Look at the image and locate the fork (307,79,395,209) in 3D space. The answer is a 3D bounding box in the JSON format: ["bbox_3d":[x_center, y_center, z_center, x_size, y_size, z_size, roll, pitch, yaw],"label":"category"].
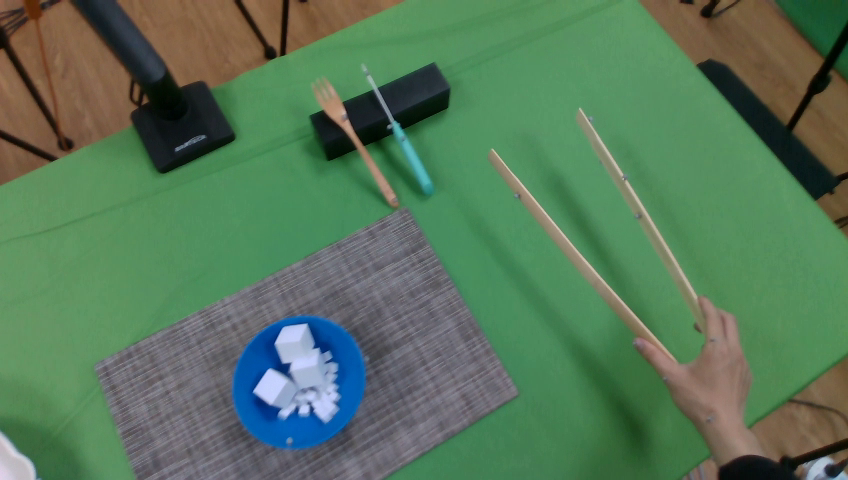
[{"bbox_3d":[-0.099,-0.132,0.846,0.028,0.018,0.207,-35,94,-19],"label":"fork"}]

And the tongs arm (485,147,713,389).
[{"bbox_3d":[0.199,0.028,0.740,0.028,0.028,0.385,-32,73,-22],"label":"tongs arm"}]

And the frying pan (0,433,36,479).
[{"bbox_3d":[-0.501,0.411,0.611,0.307,0.103,0.483,-30,64,-12],"label":"frying pan"}]

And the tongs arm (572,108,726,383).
[{"bbox_3d":[0.266,-0.004,0.759,0.051,0.027,0.382,-21,71,-15],"label":"tongs arm"}]

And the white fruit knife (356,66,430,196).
[{"bbox_3d":[-0.046,-0.156,0.857,0.016,0.027,0.207,-30,89,-6],"label":"white fruit knife"}]

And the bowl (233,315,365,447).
[{"bbox_3d":[-0.143,0.173,0.727,0.151,0.077,0.150,1,69,-2],"label":"bowl"}]
